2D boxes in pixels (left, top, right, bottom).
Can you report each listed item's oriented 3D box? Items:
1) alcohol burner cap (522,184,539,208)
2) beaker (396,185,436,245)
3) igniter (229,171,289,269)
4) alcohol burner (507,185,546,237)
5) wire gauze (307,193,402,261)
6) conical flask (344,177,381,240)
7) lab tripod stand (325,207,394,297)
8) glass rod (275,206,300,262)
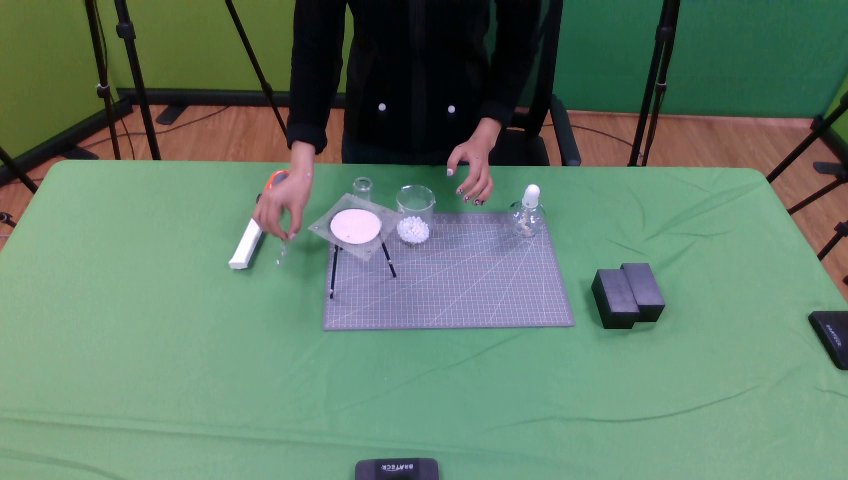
[{"bbox_3d":[0.210,-0.087,1.183,0.034,0.048,0.033,0,53,0],"label":"alcohol burner cap"},{"bbox_3d":[-0.022,-0.048,1.187,0.074,0.101,0.083,-28,53,-28],"label":"beaker"},{"bbox_3d":[-0.328,-0.049,1.218,0.057,0.025,0.275,1,45,11],"label":"igniter"},{"bbox_3d":[0.208,-0.063,1.210,0.078,0.119,0.077,3,44,-3],"label":"alcohol burner"},{"bbox_3d":[-0.119,-0.028,1.043,0.125,0.011,0.121,24,47,17],"label":"wire gauze"},{"bbox_3d":[-0.121,-0.065,1.180,0.075,0.122,0.075,2,46,-2],"label":"conical flask"},{"bbox_3d":[-0.124,0.017,1.092,0.148,0.132,0.147,3,44,-3],"label":"lab tripod stand"},{"bbox_3d":[-0.250,-0.015,1.117,0.008,0.008,0.198,3,31,-1],"label":"glass rod"}]
